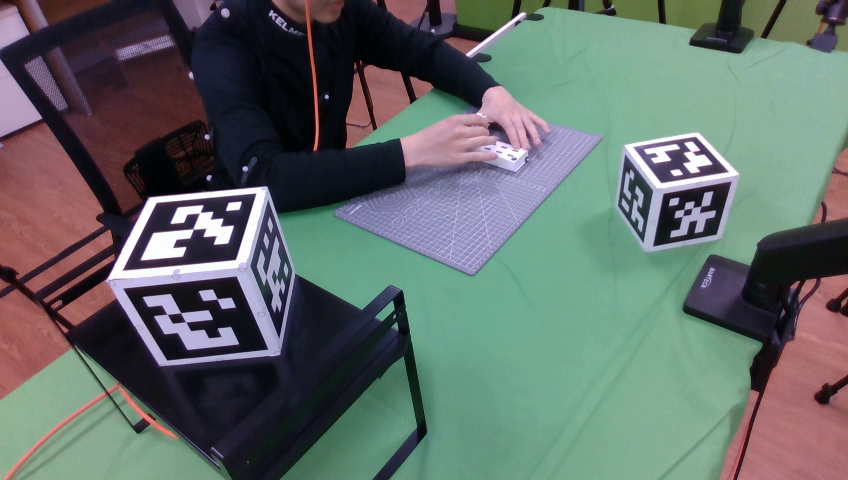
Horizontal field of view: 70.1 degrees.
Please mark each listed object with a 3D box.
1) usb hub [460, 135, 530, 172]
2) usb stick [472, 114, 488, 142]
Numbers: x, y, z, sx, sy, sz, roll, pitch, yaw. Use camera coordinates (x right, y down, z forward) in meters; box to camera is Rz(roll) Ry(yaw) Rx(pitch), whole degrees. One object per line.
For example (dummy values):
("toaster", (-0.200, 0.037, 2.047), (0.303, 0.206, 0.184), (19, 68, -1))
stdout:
("usb hub", (0.132, -0.164, 1.138), (0.124, 0.025, 0.049), (22, 49, 30))
("usb stick", (0.106, -0.204, 1.132), (0.021, 0.059, 0.027), (15, 52, 24))
